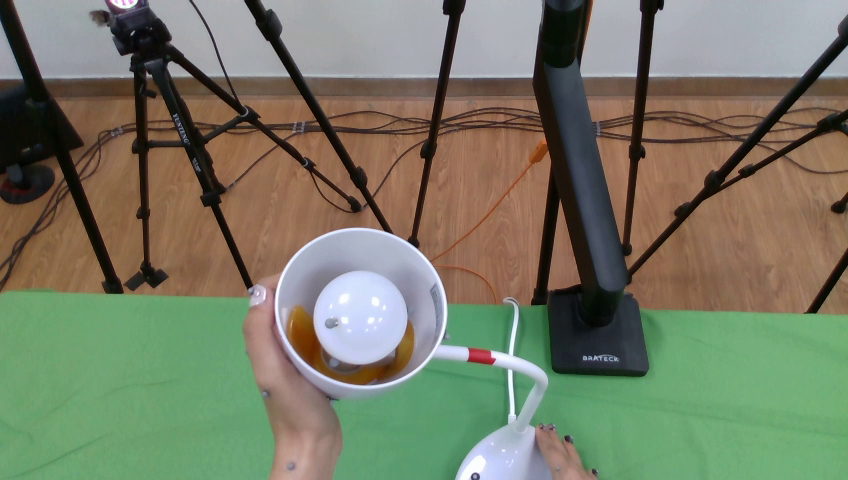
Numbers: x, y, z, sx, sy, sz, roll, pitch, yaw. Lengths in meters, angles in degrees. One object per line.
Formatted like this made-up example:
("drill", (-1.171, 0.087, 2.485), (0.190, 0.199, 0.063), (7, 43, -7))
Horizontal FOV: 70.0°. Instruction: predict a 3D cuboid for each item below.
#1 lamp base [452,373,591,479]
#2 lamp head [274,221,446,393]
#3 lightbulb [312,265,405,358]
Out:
("lamp base", (0.107, 0.228, 0.627), (0.161, 0.182, 0.177), (-8, 51, -6))
("lamp head", (-0.047, 0.061, 0.437), (0.112, 0.123, 0.111), (4, 62, -7))
("lightbulb", (-0.047, 0.056, 0.412), (0.060, 0.108, 0.059), (6, 65, -12))
